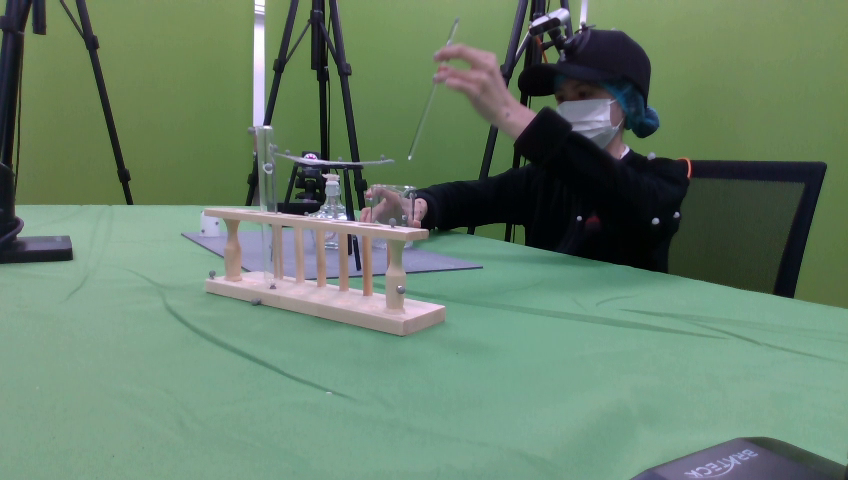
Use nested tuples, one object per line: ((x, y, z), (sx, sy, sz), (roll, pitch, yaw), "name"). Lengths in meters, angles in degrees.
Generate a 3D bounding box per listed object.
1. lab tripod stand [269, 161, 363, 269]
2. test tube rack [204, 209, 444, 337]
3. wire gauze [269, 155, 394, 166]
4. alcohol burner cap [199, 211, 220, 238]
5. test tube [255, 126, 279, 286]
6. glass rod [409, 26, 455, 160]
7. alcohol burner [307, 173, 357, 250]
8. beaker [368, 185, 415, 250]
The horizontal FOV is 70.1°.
((-0.125, -0.036, 0.794), (0.148, 0.131, 0.148), (5, 7, 0), "lab tripod stand")
((-0.100, 0.021, 0.565), (0.241, 0.085, 0.067), (7, 9, 32), "test tube rack")
((-0.121, -0.102, 0.785), (0.122, 0.011, 0.124), (-3, 10, -39), "wire gauze")
((-0.356, -0.027, 1.002), (0.034, 0.048, 0.034), (2, 7, 0), "alcohol burner cap")
((-0.147, -0.031, 0.566), (0.017, 0.150, 0.017), (-1, 8, 0), "test tube")
((0.011, -0.210, 0.878), (0.008, 0.199, 0.008), (17, 16, -5), "glass rod")
((-0.144, -0.045, 0.940), (0.078, 0.119, 0.078), (1, 8, 0), "alcohol burner")
((-0.051, -0.036, 0.957), (0.074, 0.100, 0.083), (-1, 9, -24), "beaker")
